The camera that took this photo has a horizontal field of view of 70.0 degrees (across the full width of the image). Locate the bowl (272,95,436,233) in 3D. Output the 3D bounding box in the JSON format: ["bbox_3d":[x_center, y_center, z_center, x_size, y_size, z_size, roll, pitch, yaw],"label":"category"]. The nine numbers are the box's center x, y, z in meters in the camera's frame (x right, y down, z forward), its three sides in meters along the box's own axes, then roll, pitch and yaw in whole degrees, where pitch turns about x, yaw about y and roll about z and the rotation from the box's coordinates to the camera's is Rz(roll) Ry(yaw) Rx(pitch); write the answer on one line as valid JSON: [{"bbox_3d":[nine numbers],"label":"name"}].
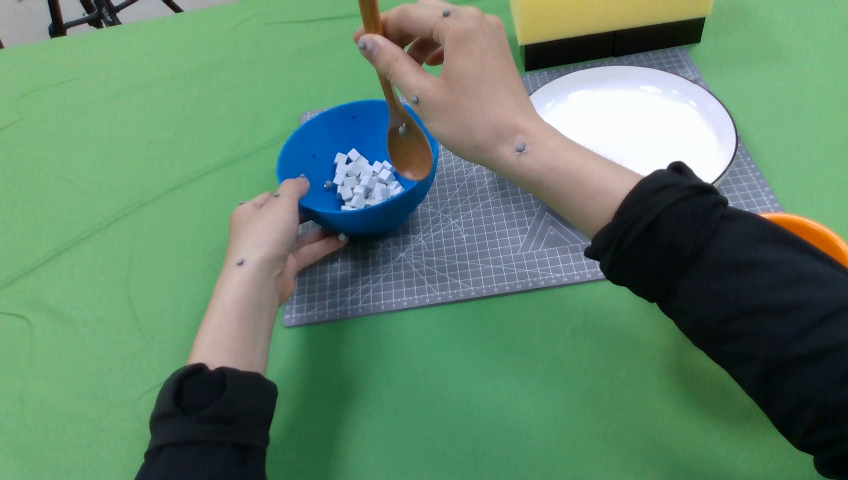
[{"bbox_3d":[-0.058,-0.060,0.575,0.151,0.077,0.150,-5,51,7],"label":"bowl"}]

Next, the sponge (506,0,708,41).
[{"bbox_3d":[0.194,-0.291,0.665,0.207,0.061,0.117,-8,51,4],"label":"sponge"}]

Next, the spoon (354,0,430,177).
[{"bbox_3d":[-0.026,-0.111,0.417,0.041,0.195,0.021,20,64,21],"label":"spoon"}]

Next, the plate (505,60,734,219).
[{"bbox_3d":[0.182,-0.096,0.586,0.209,0.038,0.207,-5,51,7],"label":"plate"}]
